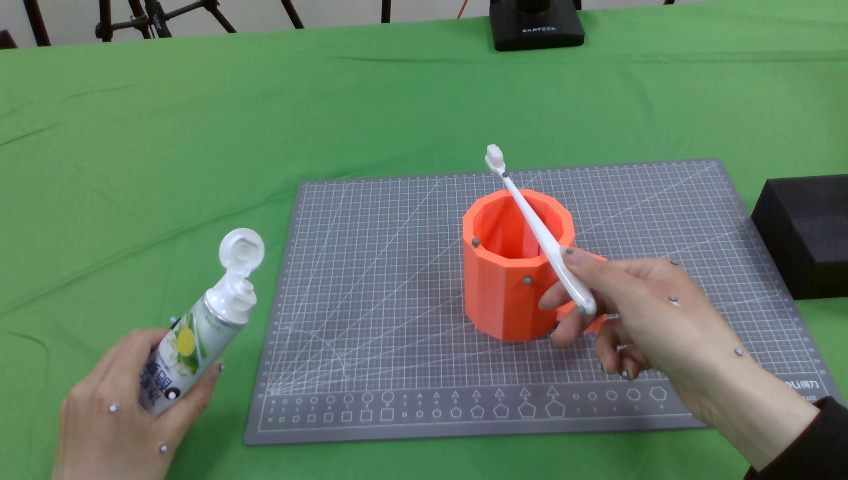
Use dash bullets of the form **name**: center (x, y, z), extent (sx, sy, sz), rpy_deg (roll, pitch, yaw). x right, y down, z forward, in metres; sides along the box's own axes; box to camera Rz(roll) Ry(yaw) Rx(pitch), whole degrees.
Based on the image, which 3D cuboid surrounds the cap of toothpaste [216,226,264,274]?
- **cap of toothpaste**: center (-0.131, 0.008, 0.436), extent (0.037, 0.037, 0.011), rpy_deg (-42, 29, -29)

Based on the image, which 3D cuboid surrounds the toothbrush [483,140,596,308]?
- **toothbrush**: center (0.082, -0.019, 0.456), extent (0.014, 0.017, 0.179), rpy_deg (-12, 48, -13)

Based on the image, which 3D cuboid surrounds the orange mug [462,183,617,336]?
- **orange mug**: center (0.089, 0.022, 0.488), extent (0.125, 0.102, 0.083), rpy_deg (19, 52, 27)

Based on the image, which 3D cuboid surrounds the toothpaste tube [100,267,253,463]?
- **toothpaste tube**: center (-0.178, 0.084, 0.434), extent (0.165, 0.035, 0.054), rpy_deg (-49, 60, 10)
